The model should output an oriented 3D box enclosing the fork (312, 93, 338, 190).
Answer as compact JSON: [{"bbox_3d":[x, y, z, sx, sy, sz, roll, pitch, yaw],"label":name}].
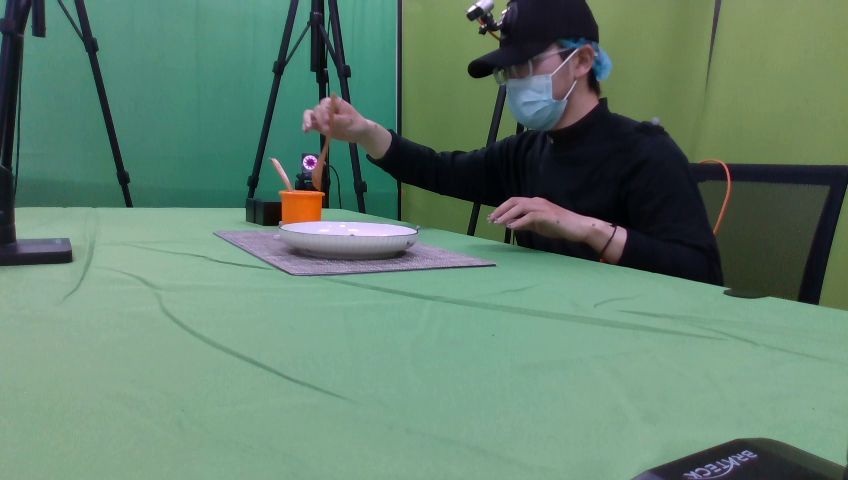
[{"bbox_3d":[-0.187,-0.183,1.147,0.019,0.207,0.028,-14,46,-44],"label":"fork"}]

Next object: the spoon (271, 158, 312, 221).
[{"bbox_3d":[-0.277,-0.103,1.247,0.042,0.193,0.021,-5,-34,-39],"label":"spoon"}]

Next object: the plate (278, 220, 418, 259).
[{"bbox_3d":[-0.114,-0.002,0.914,0.209,0.038,0.209,2,7,0],"label":"plate"}]

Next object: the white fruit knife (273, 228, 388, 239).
[{"bbox_3d":[-0.158,-0.009,1.055,0.208,0.016,0.027,-3,-21,-23],"label":"white fruit knife"}]
